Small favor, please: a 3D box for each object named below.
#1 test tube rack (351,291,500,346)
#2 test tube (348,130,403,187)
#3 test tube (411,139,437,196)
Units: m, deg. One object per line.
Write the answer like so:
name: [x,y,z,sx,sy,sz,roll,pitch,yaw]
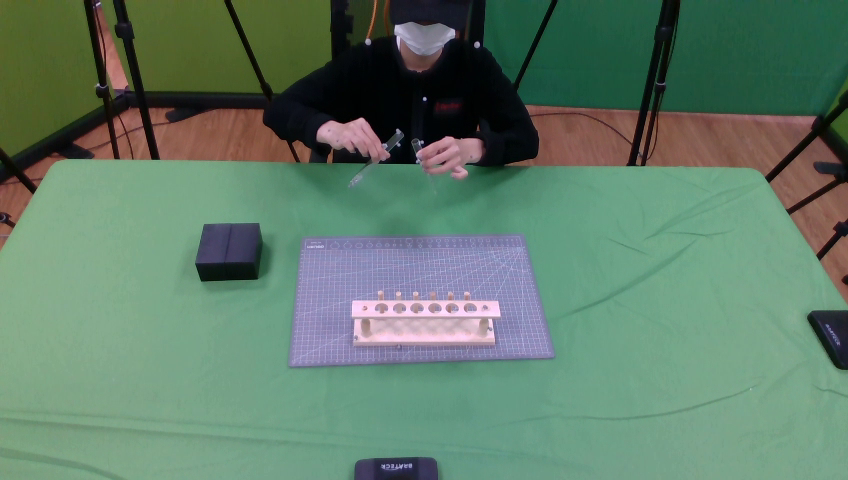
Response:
test tube rack: [0.000,0.129,1.026,0.242,0.085,0.066,1,46,-4]
test tube: [-0.093,-0.151,1.140,0.017,0.150,0.017,38,27,-22]
test tube: [0.002,-0.139,1.181,0.017,0.151,0.017,-10,50,12]
